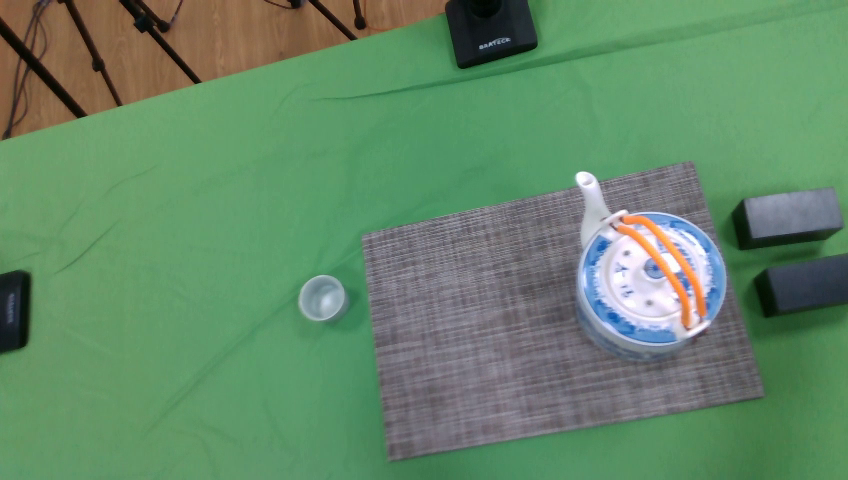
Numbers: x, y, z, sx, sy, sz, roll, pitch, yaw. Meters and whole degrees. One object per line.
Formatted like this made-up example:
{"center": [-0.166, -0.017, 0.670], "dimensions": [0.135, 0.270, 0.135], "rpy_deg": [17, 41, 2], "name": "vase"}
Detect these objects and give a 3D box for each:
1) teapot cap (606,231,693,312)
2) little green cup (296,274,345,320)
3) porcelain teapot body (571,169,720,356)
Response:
{"center": [0.226, 0.030, 0.607], "dimensions": [0.085, 0.044, 0.084], "rpy_deg": [-3, 71, 9], "name": "teapot cap"}
{"center": [-0.136, 0.078, 0.812], "dimensions": [0.061, 0.039, 0.061], "rpy_deg": [-3, 73, 11], "name": "little green cup"}
{"center": [0.218, 0.019, 0.654], "dimensions": [0.145, 0.227, 0.204], "rpy_deg": [-34, 70, 1], "name": "porcelain teapot body"}
